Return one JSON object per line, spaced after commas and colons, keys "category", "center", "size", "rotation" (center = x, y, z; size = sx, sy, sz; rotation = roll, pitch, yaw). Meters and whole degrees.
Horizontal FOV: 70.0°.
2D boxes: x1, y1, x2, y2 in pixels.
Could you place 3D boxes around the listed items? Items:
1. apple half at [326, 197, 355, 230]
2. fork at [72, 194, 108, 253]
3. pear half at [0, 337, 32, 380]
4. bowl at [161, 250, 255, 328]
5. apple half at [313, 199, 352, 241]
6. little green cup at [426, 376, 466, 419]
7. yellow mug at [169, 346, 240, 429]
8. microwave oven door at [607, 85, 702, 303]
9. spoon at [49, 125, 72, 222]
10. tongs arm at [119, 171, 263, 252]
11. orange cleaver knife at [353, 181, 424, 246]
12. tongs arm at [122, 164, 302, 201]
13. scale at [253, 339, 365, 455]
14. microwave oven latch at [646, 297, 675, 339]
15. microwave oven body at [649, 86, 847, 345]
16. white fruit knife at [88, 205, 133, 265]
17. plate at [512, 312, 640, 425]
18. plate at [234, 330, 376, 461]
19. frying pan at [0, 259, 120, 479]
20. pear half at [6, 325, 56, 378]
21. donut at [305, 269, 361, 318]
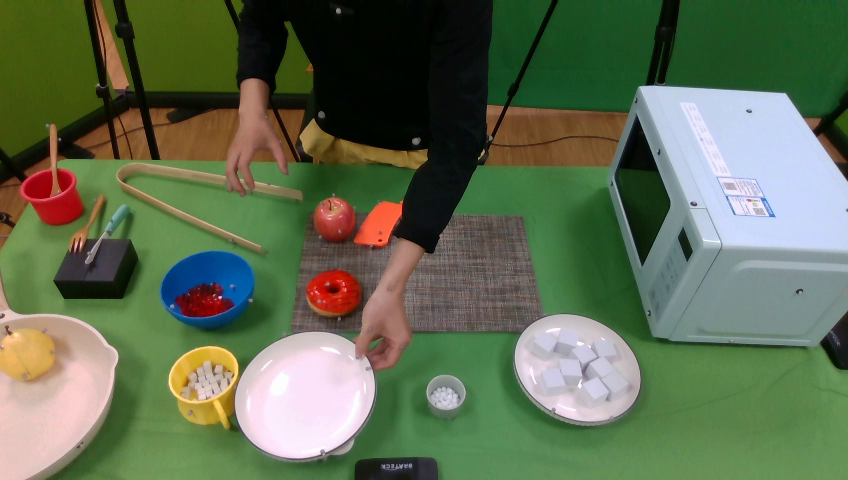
{"category": "apple half", "center": [-0.159, -0.054, 1.196], "size": [0.081, 0.082, 0.033], "rotation": [34, 58, 26]}
{"category": "fork", "center": [-0.634, -0.036, 1.158], "size": [0.028, 0.019, 0.206], "rotation": [-8, 32, -8]}
{"category": "pear half", "center": [-0.631, 0.184, 0.921], "size": [0.070, 0.088, 0.031], "rotation": [29, 49, 19]}
{"category": "bowl", "center": [-0.362, 0.098, 1.039], "size": [0.151, 0.077, 0.150], "rotation": [2, 45, -2]}
{"category": "apple half", "center": [-0.184, -0.033, 1.176], "size": [0.080, 0.075, 0.053], "rotation": [36, 57, 22]}
{"category": "little green cup", "center": [0.033, 0.248, 0.950], "size": [0.061, 0.039, 0.061], "rotation": [2, 46, -2]}
{"category": "yellow mug", "center": [-0.322, 0.231, 0.922], "size": [0.100, 0.064, 0.130], "rotation": [-24, 53, -26]}
{"category": "microwave oven door", "center": [0.423, -0.094, 1.140], "size": [0.039, 0.245, 0.353], "rotation": [2, 46, -1]}
{"category": "spoon", "center": [-0.718, -0.131, 1.189], "size": [0.041, 0.021, 0.193], "rotation": [-4, 90, -7]}
{"category": "tongs arm", "center": [-0.474, -0.057, 1.211], "size": [0.386, 0.028, 0.028], "rotation": [23, 55, 19]}
{"category": "orange cleaver knife", "center": [-0.070, -0.059, 1.245], "size": [0.077, 0.012, 0.210], "rotation": [18, 50, 21]}
{"category": "tongs arm", "center": [-0.444, -0.114, 1.268], "size": [0.384, 0.026, 0.050], "rotation": [12, 49, 9]}
{"category": "scale", "center": [-0.175, 0.236, 0.951], "size": [0.149, 0.032, 0.199], "rotation": [4, 46, 0]}
{"category": "microwave oven latch", "center": [0.412, 0.134, 1.061], "size": [0.030, 0.029, 0.078], "rotation": [4, 45, 1]}
{"category": "microwave oven body", "center": [0.567, -0.053, 1.118], "size": [0.326, 0.261, 0.439], "rotation": [2, 45, -1]}
{"category": "white fruit knife", "center": [-0.584, -0.013, 1.129], "size": [0.016, 0.027, 0.206], "rotation": [0, 31, -5]}
{"category": "plate", "center": [0.246, 0.213, 0.999], "size": [0.208, 0.039, 0.206], "rotation": [2, 46, -2]}
{"category": "plate", "center": [-0.175, 0.232, 0.904], "size": [0.209, 0.038, 0.208], "rotation": [0, 49, 0]}
{"category": "frying pan", "center": [-0.647, 0.164, 0.936], "size": [0.307, 0.103, 0.485], "rotation": [-19, 58, -22]}
{"category": "pear half", "center": [-0.608, 0.158, 0.935], "size": [0.076, 0.110, 0.056], "rotation": [31, 51, 20]}
{"category": "donut", "center": [-0.160, 0.094, 1.075], "size": [0.099, 0.048, 0.098], "rotation": [3, 45, -3]}
